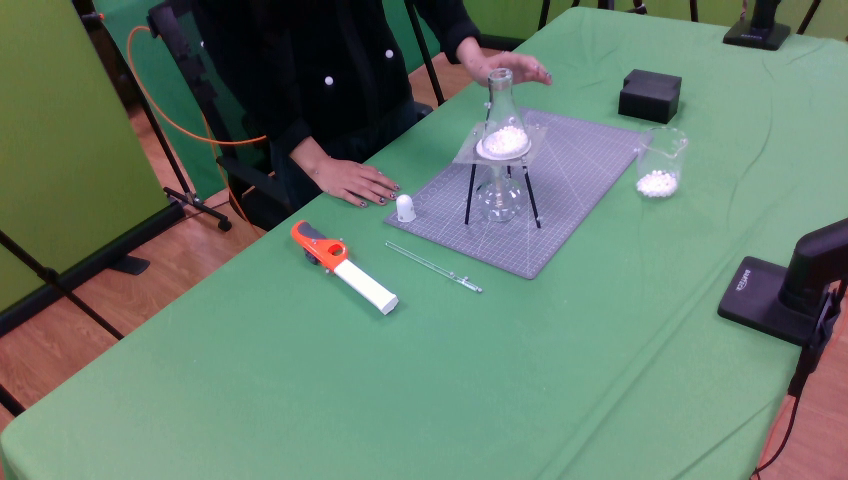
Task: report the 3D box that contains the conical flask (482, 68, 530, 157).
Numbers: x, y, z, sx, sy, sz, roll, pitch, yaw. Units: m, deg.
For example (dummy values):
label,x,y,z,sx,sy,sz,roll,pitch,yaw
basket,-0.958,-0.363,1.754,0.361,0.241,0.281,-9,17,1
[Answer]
label,x,y,z,sx,sy,sz,roll,pitch,yaw
conical flask,0.118,-0.192,0.902,0.075,0.122,0.075,-7,39,6

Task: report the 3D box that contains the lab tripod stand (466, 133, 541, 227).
label,x,y,z,sx,sy,sz,roll,pitch,yaw
lab tripod stand,0.130,-0.099,0.985,0.148,0.132,0.147,-6,38,6

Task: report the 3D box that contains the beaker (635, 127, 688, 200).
label,x,y,z,sx,sy,sz,roll,pitch,yaw
beaker,0.388,-0.122,0.994,0.074,0.101,0.083,-8,41,2

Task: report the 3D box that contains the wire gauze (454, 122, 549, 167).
label,x,y,z,sx,sy,sz,roll,pitch,yaw
wire gauze,0.122,-0.149,0.943,0.121,0.011,0.125,7,44,22

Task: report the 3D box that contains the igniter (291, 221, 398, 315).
label,x,y,z,sx,sy,sz,roll,pitch,yaw
igniter,-0.136,0.037,0.962,0.057,0.025,0.274,-41,48,-18

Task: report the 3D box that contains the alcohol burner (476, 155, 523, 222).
label,x,y,z,sx,sy,sz,roll,pitch,yaw
alcohol burner,0.123,-0.089,0.990,0.078,0.120,0.077,-6,41,6

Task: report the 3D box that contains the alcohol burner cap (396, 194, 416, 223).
label,x,y,z,sx,sy,sz,roll,pitch,yaw
alcohol burner cap,-0.032,-0.056,1.036,0.034,0.048,0.033,-6,40,6

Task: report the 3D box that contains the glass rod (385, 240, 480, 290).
label,x,y,z,sx,sy,sz,roll,pitch,yaw
glass rod,0.009,0.037,0.949,0.198,0.008,0.008,26,52,34
